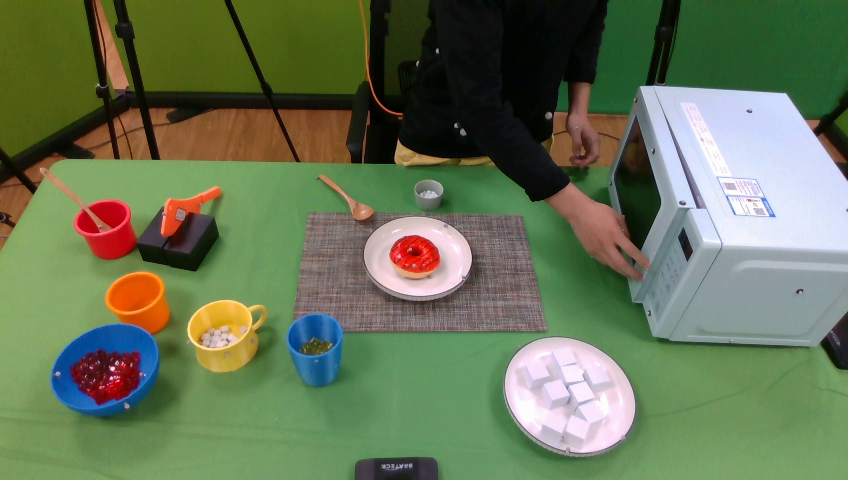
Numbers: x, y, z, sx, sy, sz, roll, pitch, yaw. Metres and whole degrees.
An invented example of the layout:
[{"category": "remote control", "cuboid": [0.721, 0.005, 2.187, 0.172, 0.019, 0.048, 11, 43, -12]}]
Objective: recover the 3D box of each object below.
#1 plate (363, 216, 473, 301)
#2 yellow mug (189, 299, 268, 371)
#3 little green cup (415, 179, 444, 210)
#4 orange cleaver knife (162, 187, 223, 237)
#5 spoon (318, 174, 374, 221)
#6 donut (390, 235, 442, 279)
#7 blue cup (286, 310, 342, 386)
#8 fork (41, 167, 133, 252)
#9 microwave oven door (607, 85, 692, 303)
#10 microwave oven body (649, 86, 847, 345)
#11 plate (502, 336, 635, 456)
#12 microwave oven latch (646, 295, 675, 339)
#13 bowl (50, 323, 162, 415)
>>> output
[{"category": "plate", "cuboid": [-0.012, 0.038, 1.144, 0.209, 0.038, 0.208, 2, 46, -2]}, {"category": "yellow mug", "cuboid": [-0.316, 0.148, 1.002, 0.131, 0.064, 0.099, -32, 56, -31]}, {"category": "little green cup", "cuboid": [0.011, -0.094, 1.278, 0.061, 0.039, 0.061, 2, 48, -2]}, {"category": "orange cleaver knife", "cuboid": [-0.448, -0.058, 1.181, 0.012, 0.077, 0.211, 13, 17, 6]}, {"category": "spoon", "cuboid": [-0.168, -0.095, 1.274, 0.041, 0.022, 0.192, -40, 57, -13]}, {"category": "donut", "cuboid": [-0.016, 0.032, 1.135, 0.099, 0.048, 0.098, 4, 44, -3]}, {"category": "blue cup", "cuboid": [-0.169, 0.179, 0.958, 0.093, 0.101, 0.092, 1, 44, -1]}, {"category": "fork", "cuboid": [-0.624, -0.055, 1.121, 0.208, 0.018, 0.028, 50, 51, -15]}, {"category": "microwave oven door", "cuboid": [0.415, -0.095, 1.140, 0.039, 0.245, 0.353, 4, 46, 1]}, {"category": "microwave oven body", "cuboid": [0.568, -0.053, 1.118, 0.326, 0.261, 0.439, 2, 45, -1]}, {"category": "plate", "cuboid": [0.225, 0.248, 0.963, 0.208, 0.039, 0.206, 2, 46, -2]}, {"category": "microwave oven latch", "cuboid": [0.412, 0.134, 1.061, 0.030, 0.029, 0.078, 4, 45, 1]}, {"category": "bowl", "cuboid": [-0.472, 0.209, 0.924, 0.151, 0.077, 0.150, 2, 45, -2]}]
